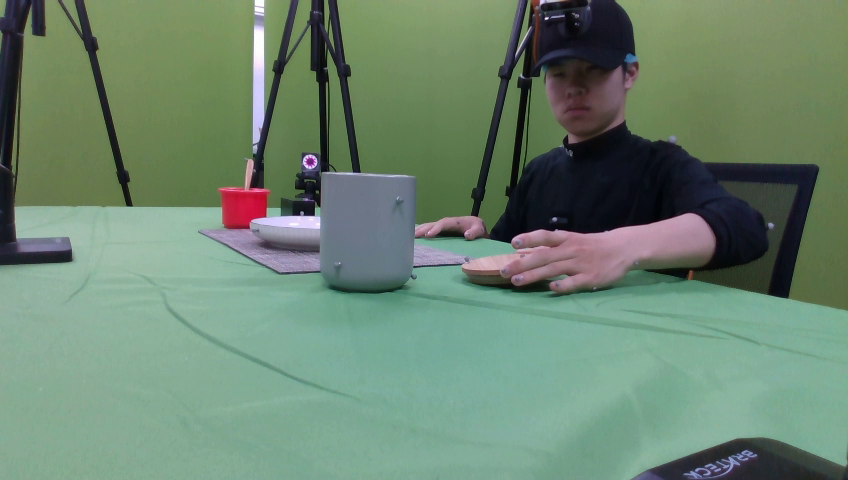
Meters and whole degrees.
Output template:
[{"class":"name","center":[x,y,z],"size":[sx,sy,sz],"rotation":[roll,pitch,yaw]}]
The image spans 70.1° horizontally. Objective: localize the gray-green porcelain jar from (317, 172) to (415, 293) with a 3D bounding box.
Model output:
[{"class":"gray-green porcelain jar","center":[-0.065,-0.010,0.672],"size":[0.106,0.126,0.106],"rotation":[2,7,0]}]

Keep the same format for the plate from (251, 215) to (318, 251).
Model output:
[{"class":"plate","center":[-0.170,-0.012,0.971],"size":[0.208,0.039,0.207],"rotation":[3,7,0]}]

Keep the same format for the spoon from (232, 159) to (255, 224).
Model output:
[{"class":"spoon","center":[-0.356,-0.101,1.218],"size":[0.042,0.021,0.193],"rotation":[1,51,-9]}]

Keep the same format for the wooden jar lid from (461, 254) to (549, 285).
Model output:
[{"class":"wooden jar lid","center":[0.099,0.036,0.741],"size":[0.108,0.020,0.108],"rotation":[-6,7,1]}]
